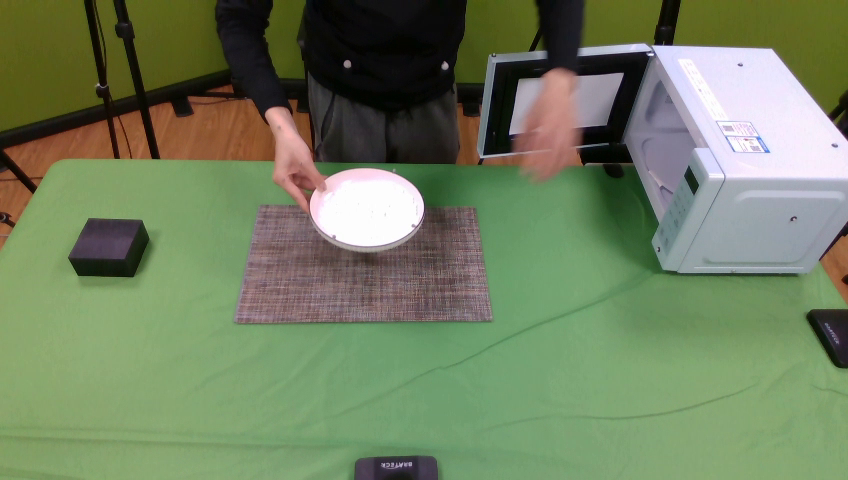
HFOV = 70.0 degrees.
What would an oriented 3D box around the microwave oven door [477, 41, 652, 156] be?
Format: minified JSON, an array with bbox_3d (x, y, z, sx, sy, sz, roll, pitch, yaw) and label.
[{"bbox_3d":[0.303,-0.309,1.336,0.356,0.245,0.039,-8,47,-10],"label":"microwave oven door"}]

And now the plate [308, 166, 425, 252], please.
[{"bbox_3d":[-0.102,-0.053,1.092,0.209,0.038,0.208,3,47,-3],"label":"plate"}]

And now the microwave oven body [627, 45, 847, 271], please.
[{"bbox_3d":[0.619,-0.172,1.234,0.326,0.261,0.439,0,46,-3],"label":"microwave oven body"}]

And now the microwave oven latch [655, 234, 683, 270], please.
[{"bbox_3d":[0.473,0.021,1.175,0.030,0.029,0.078,2,46,0],"label":"microwave oven latch"}]
